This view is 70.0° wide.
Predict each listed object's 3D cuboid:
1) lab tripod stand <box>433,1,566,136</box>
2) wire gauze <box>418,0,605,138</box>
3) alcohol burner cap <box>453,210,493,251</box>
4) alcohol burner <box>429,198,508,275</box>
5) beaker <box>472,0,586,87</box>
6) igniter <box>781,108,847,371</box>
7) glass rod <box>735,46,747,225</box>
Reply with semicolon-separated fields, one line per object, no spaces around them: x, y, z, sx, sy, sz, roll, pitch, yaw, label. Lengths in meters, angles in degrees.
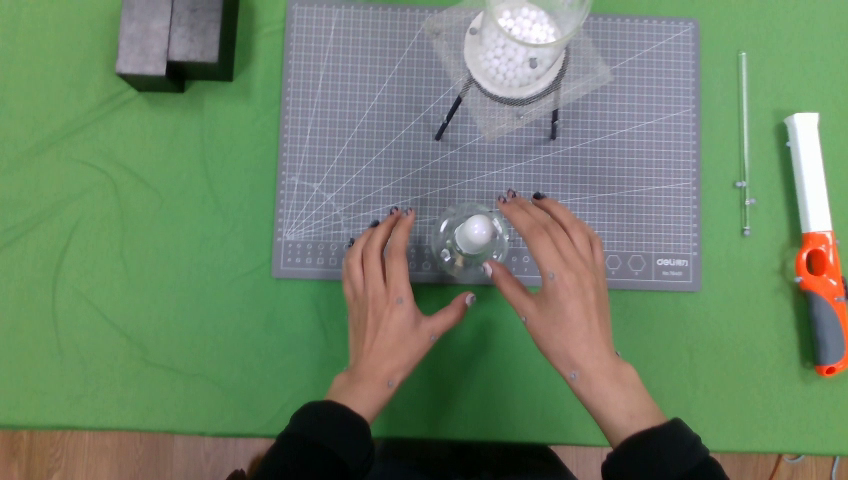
0.075;-0.154;0.587;0.148;0.131;0.148;0;86;-1;lab tripod stand
0.077;-0.165;0.522;0.125;0.011;0.121;-28;89;-5;wire gauze
0.047;-0.011;0.547;0.034;0.048;0.033;2;77;-8;alcohol burner cap
0.044;-0.005;0.583;0.078;0.119;0.077;0;83;-3;alcohol burner
0.078;-0.169;0.474;0.084;0.100;0.074;-19;86;-3;beaker
0.412;-0.003;0.638;0.057;0.025;0.276;-4;85;-12;igniter
0.344;-0.115;0.657;0.008;0.008;0.199;1;85;-2;glass rod
